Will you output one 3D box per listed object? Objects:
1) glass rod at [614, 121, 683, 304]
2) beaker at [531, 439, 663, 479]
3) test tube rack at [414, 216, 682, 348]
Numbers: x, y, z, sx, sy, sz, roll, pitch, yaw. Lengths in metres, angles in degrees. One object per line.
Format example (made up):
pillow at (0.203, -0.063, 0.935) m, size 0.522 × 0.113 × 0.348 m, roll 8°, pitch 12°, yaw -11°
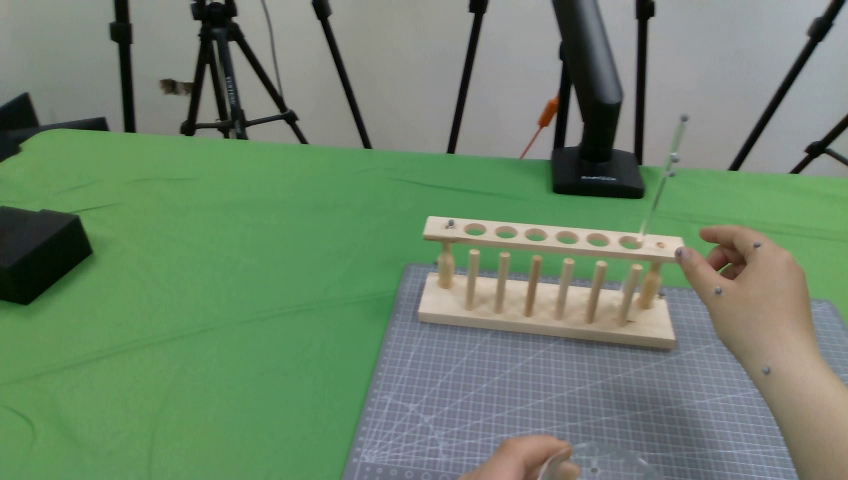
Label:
glass rod at (0.201, -0.015, 0.550) m, size 0.008 × 0.201 × 0.008 m, roll 3°, pitch 37°, yaw -2°
beaker at (0.090, 0.176, 0.345) m, size 0.084 × 0.101 × 0.073 m, roll -5°, pitch 34°, yaw -9°
test tube rack at (0.115, 0.039, 0.588) m, size 0.242 × 0.086 × 0.066 m, roll 5°, pitch 35°, yaw 7°
